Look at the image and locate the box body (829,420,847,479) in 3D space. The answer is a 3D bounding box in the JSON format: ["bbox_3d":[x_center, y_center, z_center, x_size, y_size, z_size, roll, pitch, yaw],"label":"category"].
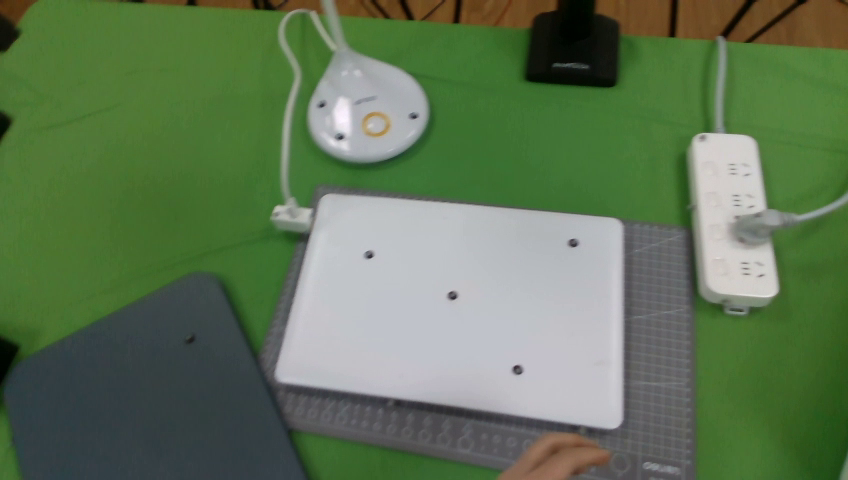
[{"bbox_3d":[0.541,0.119,0.500,0.252,0.162,0.363,29,69,19],"label":"box body"}]

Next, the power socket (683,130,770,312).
[{"bbox_3d":[0.333,-0.031,0.675,0.072,0.033,0.225,6,62,7],"label":"power socket"}]

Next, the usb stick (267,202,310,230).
[{"bbox_3d":[-0.152,-0.027,0.714,0.059,0.027,0.021,9,59,8],"label":"usb stick"}]

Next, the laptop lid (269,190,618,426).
[{"bbox_3d":[0.025,0.060,0.651,0.356,0.013,0.240,7,65,9],"label":"laptop lid"}]

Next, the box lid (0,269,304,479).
[{"bbox_3d":[-0.279,0.220,0.614,0.263,0.015,0.368,-29,63,-9],"label":"box lid"}]

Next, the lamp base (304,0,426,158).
[{"bbox_3d":[-0.091,-0.219,0.733,0.161,0.182,0.177,-28,60,-9],"label":"lamp base"}]

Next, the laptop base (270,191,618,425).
[{"bbox_3d":[0.027,0.063,0.663,0.354,0.023,0.234,5,66,8],"label":"laptop base"}]

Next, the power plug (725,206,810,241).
[{"bbox_3d":[0.355,-0.011,0.636,0.072,0.053,0.035,15,63,12],"label":"power plug"}]
